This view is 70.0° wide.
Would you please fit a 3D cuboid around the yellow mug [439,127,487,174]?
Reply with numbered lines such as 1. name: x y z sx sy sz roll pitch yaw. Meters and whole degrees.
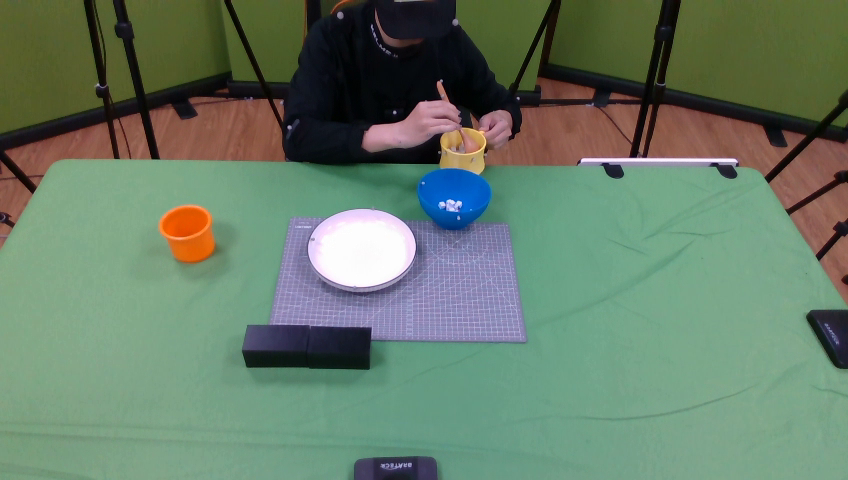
1. yellow mug: 0.093 -0.198 1.315 0.099 0.064 0.131 34 53 30

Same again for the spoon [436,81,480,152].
1. spoon: 0.069 -0.245 1.275 0.041 0.194 0.021 -37 18 -20

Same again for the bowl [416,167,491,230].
1. bowl: 0.057 -0.074 1.231 0.151 0.077 0.150 2 42 -2

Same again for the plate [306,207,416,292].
1. plate: -0.119 0.021 1.153 0.209 0.038 0.208 2 46 -2
